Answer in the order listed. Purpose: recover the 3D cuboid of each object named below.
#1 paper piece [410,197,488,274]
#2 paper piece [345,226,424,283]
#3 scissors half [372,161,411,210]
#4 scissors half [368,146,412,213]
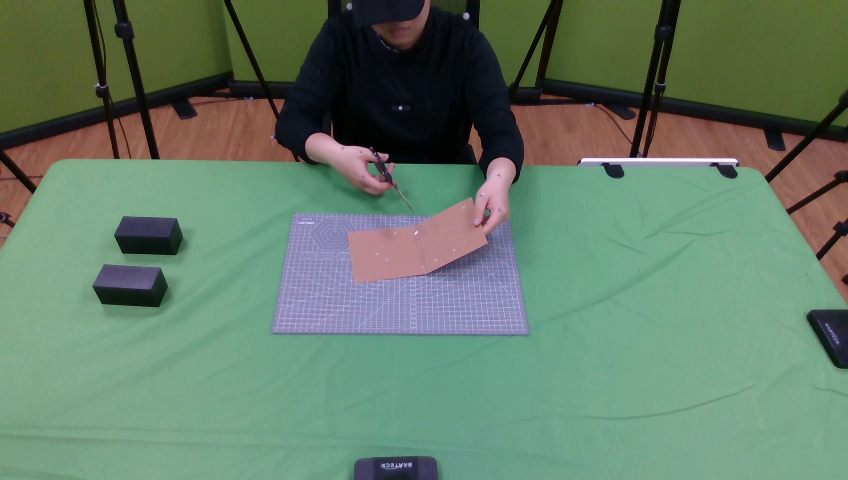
[{"bbox_3d":[0.045,-0.011,1.171,0.138,0.009,0.135,-25,49,12],"label":"paper piece"},{"bbox_3d":[-0.079,0.025,1.173,0.135,0.004,0.135,-5,47,-10],"label":"paper piece"},{"bbox_3d":[-0.065,-0.110,1.236,0.013,0.040,0.174,-28,45,-10],"label":"scissors half"},{"bbox_3d":[-0.068,-0.122,1.217,0.013,0.040,0.174,-31,72,-6],"label":"scissors half"}]
